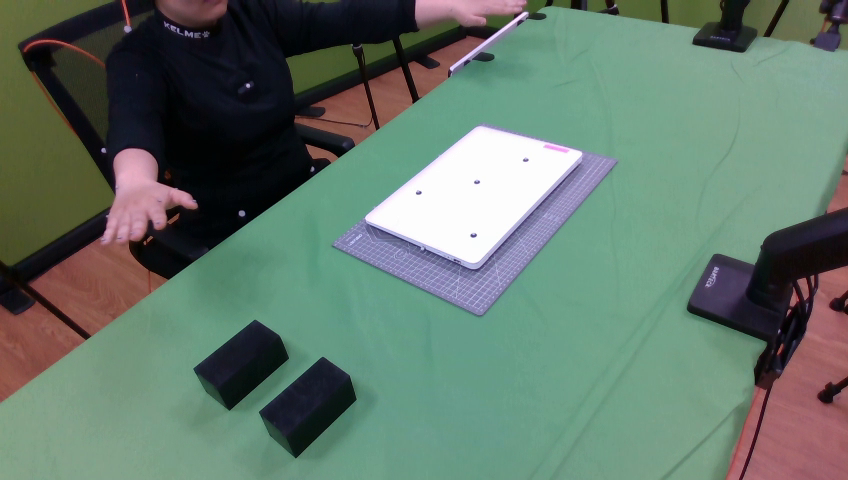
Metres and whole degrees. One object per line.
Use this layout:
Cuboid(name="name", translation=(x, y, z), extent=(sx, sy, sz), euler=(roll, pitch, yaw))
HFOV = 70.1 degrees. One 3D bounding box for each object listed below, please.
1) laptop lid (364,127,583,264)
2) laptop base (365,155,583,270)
Cuboid(name="laptop lid", translation=(0.092, -0.096, 1.053), extent=(0.239, 0.013, 0.358), euler=(23, 48, 34))
Cuboid(name="laptop base", translation=(0.095, -0.086, 1.059), extent=(0.233, 0.023, 0.355), euler=(20, 47, 33))
